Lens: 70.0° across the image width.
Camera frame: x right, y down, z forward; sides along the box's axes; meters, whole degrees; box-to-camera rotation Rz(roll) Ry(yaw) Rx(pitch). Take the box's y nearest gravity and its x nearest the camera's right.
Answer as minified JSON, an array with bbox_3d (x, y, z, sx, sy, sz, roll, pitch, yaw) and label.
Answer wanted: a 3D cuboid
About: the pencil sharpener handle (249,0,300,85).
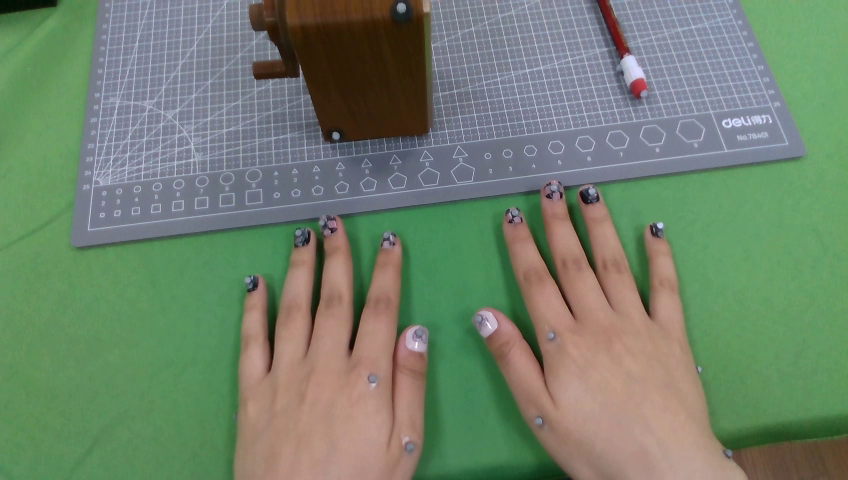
[{"bbox_3d":[-0.088,-0.109,0.335,0.030,0.068,0.035,-6,68,-1],"label":"pencil sharpener handle"}]

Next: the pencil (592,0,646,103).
[{"bbox_3d":[0.121,-0.175,0.429,0.012,0.012,0.192,-10,65,-4],"label":"pencil"}]

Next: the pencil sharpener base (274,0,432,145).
[{"bbox_3d":[-0.036,-0.108,0.347,0.077,0.108,0.061,-6,66,-1],"label":"pencil sharpener base"}]
